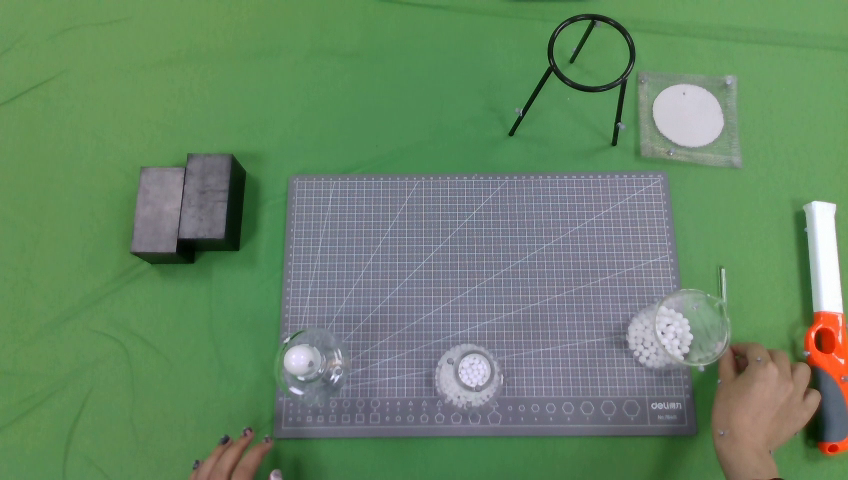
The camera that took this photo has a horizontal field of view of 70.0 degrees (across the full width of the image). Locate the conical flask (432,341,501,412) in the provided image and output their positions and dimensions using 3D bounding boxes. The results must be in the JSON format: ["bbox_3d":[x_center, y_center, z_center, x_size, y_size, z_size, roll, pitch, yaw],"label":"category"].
[{"bbox_3d":[0.045,0.132,0.603,0.075,0.122,0.075,0,74,1],"label":"conical flask"}]

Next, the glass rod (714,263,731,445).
[{"bbox_3d":[0.329,0.122,0.667,0.008,0.008,0.198,4,75,1],"label":"glass rod"}]

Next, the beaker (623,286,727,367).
[{"bbox_3d":[0.255,0.091,0.624,0.084,0.101,0.073,-36,77,-9],"label":"beaker"}]

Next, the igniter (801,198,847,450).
[{"bbox_3d":[0.440,0.087,0.664,0.057,0.025,0.275,8,75,-8],"label":"igniter"}]

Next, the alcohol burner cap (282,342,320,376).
[{"bbox_3d":[-0.118,0.112,0.576,0.034,0.048,0.033,1,78,-3],"label":"alcohol burner cap"}]

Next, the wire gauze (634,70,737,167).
[{"bbox_3d":[0.319,-0.152,0.740,0.125,0.011,0.121,5,75,0],"label":"wire gauze"}]

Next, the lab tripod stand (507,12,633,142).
[{"bbox_3d":[0.168,-0.175,0.682,0.148,0.132,0.147,0,77,1],"label":"lab tripod stand"}]

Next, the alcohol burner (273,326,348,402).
[{"bbox_3d":[-0.118,0.123,0.611,0.078,0.120,0.077,-1,74,3],"label":"alcohol burner"}]
